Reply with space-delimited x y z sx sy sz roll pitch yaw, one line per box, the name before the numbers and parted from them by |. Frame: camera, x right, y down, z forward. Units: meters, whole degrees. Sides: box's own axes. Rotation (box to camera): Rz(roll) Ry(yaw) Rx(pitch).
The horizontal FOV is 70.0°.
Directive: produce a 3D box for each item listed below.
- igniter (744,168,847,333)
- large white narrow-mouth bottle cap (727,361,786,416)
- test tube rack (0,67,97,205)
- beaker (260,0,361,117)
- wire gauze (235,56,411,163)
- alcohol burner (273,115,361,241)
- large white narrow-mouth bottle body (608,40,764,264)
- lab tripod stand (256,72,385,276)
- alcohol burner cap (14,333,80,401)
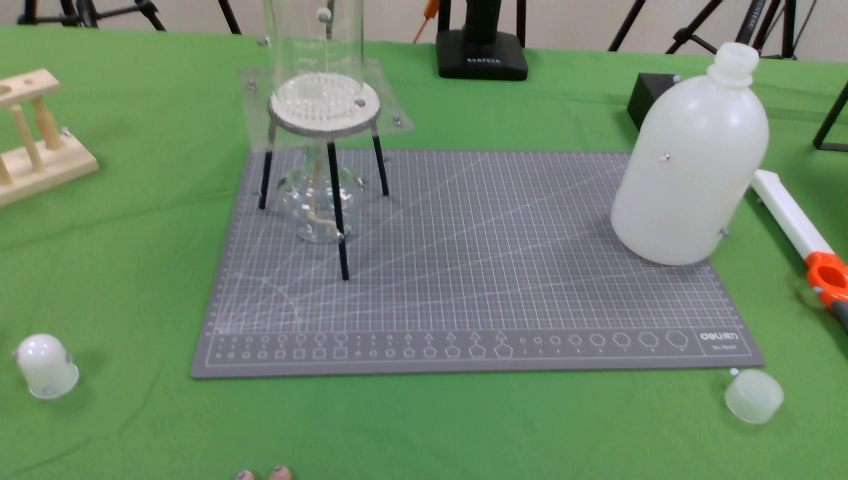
igniter | 0.370 0.022 0.565 0.057 0.025 0.273 9 42 -12
large white narrow-mouth bottle cap | 0.253 0.113 0.462 0.038 0.024 0.037 3 43 -2
test tube rack | -0.436 -0.067 0.532 0.242 0.086 0.066 -32 55 -33
beaker | -0.085 -0.150 0.451 0.084 0.101 0.073 -5 46 -11
wire gauze | -0.084 -0.112 0.483 0.122 0.011 0.123 -11 50 -14
alcohol burner | -0.094 -0.058 0.534 0.078 0.120 0.077 4 42 -4
large white narrow-mouth bottle body | 0.233 -0.077 0.529 0.102 0.196 0.101 2 43 -2
lab tripod stand | -0.084 -0.063 0.527 0.148 0.132 0.147 4 44 -4
alcohol burner cap | -0.264 0.086 0.421 0.034 0.048 0.033 4 43 -4
